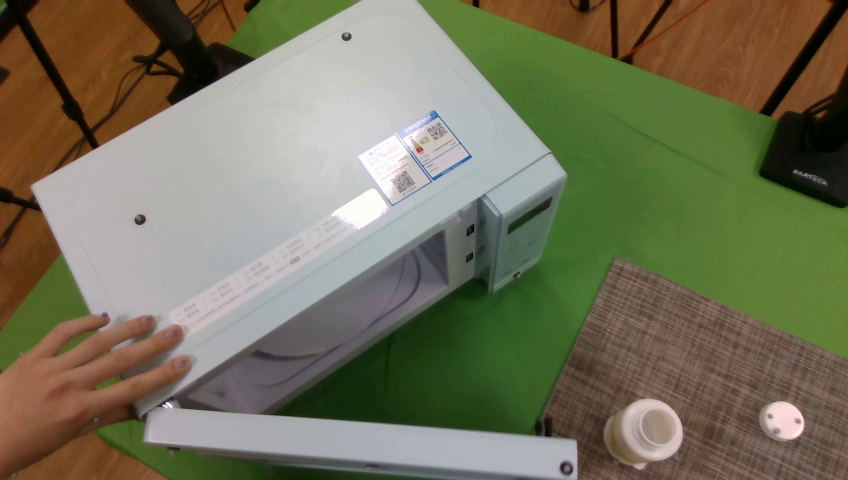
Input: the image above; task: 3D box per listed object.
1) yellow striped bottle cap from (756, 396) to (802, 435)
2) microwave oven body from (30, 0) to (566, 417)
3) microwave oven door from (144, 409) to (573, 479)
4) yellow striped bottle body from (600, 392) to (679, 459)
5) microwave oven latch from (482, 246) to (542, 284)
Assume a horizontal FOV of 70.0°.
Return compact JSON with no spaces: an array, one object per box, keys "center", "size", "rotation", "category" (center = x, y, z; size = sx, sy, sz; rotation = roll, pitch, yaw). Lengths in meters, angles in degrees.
[{"center":[0.414,0.204,0.706],"size":[0.044,0.019,0.044],"rotation":[-2,68,4],"category":"yellow striped bottle cap"},{"center":[-0.124,-0.029,0.698],"size":[0.442,0.262,0.323],"rotation":[-33,71,-9],"category":"microwave oven body"},{"center":[-0.049,0.203,0.596],"size":[0.355,0.245,0.039],"rotation":[3,67,5],"category":"microwave oven door"},{"center":[0.235,0.202,0.659],"size":[0.063,0.121,0.062],"rotation":[-1,67,3],"category":"yellow striped bottle body"},{"center":[0.112,0.023,0.768],"size":[0.079,0.030,0.030],"rotation":[-31,70,-8],"category":"microwave oven latch"}]
